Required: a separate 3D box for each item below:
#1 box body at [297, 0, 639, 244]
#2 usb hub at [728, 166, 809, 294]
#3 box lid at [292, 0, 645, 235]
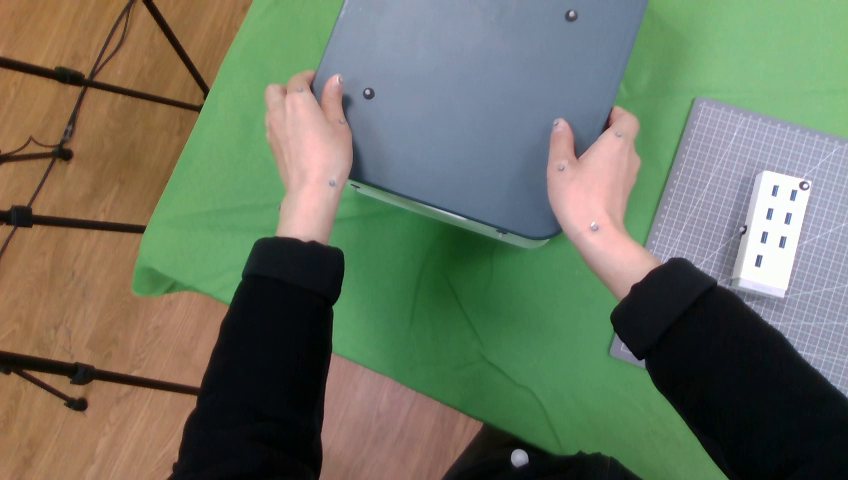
[{"bbox_3d":[0.065,-0.199,0.616,0.253,0.161,0.363,19,86,9],"label":"box body"},{"bbox_3d":[0.354,-0.011,0.624,0.049,0.025,0.125,15,86,9],"label":"usb hub"},{"bbox_3d":[0.055,-0.207,0.543,0.262,0.015,0.371,19,86,9],"label":"box lid"}]
